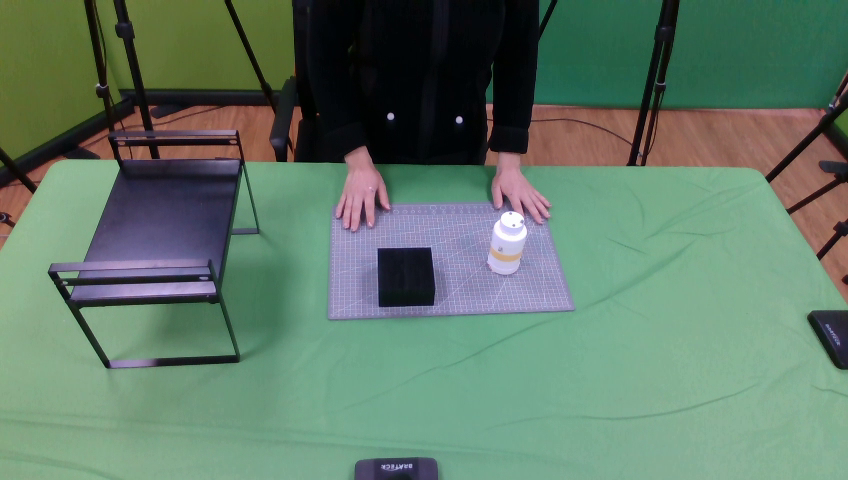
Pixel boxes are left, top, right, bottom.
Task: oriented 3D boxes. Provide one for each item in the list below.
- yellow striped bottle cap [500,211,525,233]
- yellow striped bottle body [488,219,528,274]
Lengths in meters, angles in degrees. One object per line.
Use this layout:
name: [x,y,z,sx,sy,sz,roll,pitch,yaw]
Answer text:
yellow striped bottle cap: [0.160,-0.033,1.094,0.044,0.019,0.044,4,46,-4]
yellow striped bottle body: [0.158,0.003,1.132,0.063,0.121,0.062,2,46,-2]
